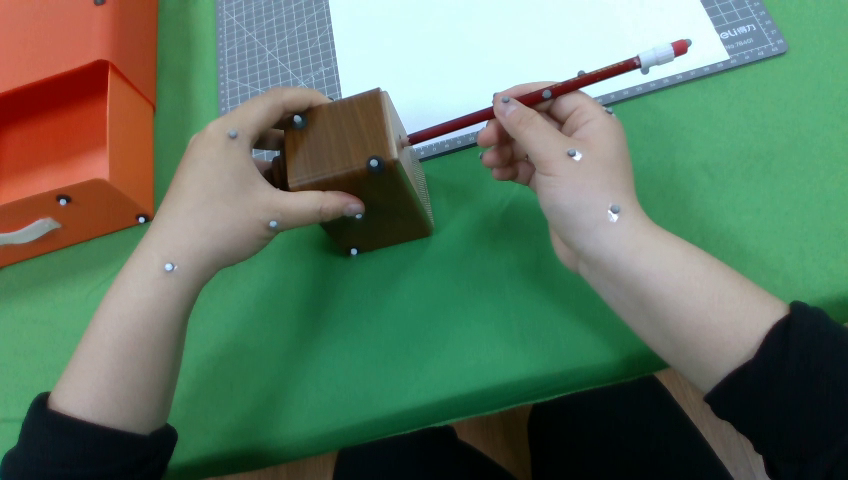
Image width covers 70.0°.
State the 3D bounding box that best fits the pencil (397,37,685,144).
[{"bbox_3d":[0.063,-0.089,0.377,0.194,0.012,0.012,-17,63,8],"label":"pencil"}]

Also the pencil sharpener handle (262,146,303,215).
[{"bbox_3d":[-0.098,-0.035,0.413,0.030,0.068,0.035,-15,68,8],"label":"pencil sharpener handle"}]

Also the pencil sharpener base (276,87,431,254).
[{"bbox_3d":[-0.046,-0.042,0.417,0.076,0.108,0.061,-15,64,8],"label":"pencil sharpener base"}]

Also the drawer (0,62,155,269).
[{"bbox_3d":[-0.342,-0.090,0.529,0.194,0.074,0.209,-17,62,7],"label":"drawer"}]

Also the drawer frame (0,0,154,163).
[{"bbox_3d":[-0.367,-0.192,0.580,0.201,0.083,0.211,-17,62,7],"label":"drawer frame"}]
